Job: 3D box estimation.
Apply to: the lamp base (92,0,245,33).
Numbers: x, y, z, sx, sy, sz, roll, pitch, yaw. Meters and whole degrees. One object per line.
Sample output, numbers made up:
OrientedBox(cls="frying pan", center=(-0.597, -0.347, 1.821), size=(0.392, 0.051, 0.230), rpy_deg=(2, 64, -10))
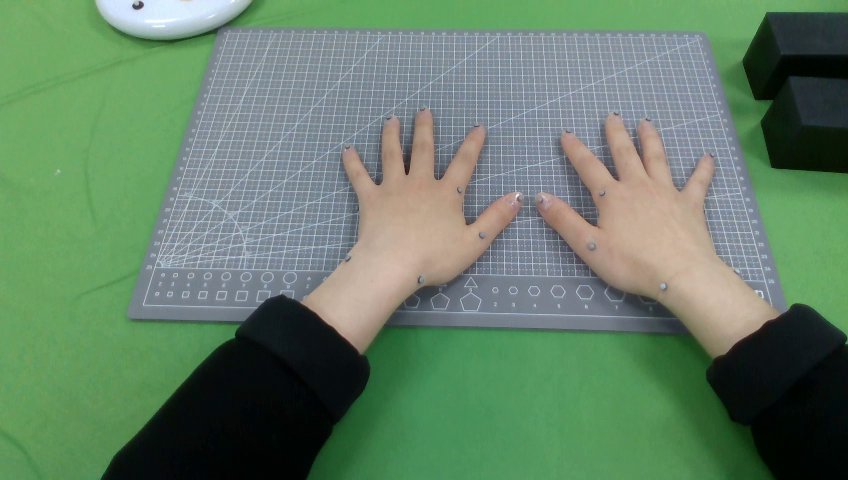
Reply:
OrientedBox(cls="lamp base", center=(-0.252, -0.306, 0.529), size=(0.160, 0.182, 0.177), rpy_deg=(-36, 62, -19))
